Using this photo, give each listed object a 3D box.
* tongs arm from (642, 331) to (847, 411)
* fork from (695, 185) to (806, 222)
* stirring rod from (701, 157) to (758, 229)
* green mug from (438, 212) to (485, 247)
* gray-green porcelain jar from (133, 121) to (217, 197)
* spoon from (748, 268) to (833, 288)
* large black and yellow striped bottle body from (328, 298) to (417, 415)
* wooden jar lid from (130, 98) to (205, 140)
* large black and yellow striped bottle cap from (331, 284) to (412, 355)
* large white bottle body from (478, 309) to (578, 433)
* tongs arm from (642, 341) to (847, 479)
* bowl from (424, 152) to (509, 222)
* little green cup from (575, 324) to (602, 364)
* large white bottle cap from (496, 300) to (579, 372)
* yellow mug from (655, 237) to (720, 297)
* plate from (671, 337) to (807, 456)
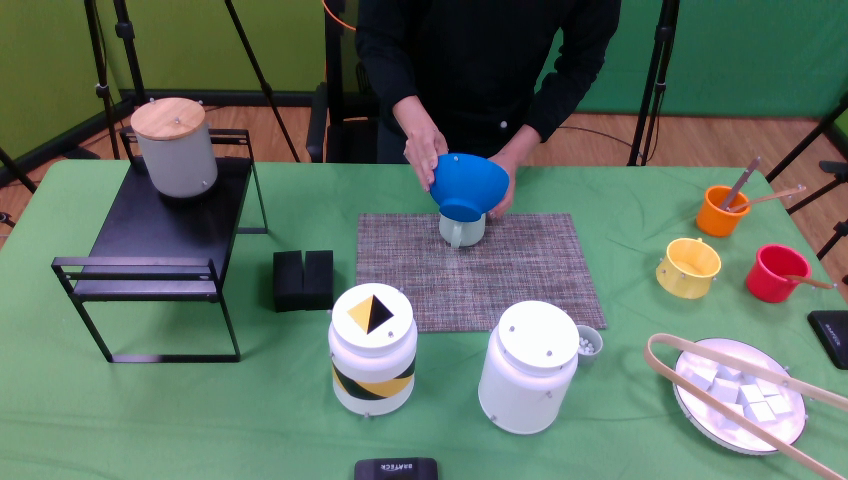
[{"bbox_3d":[0.546,0.227,0.968,0.384,0.026,0.050,22,52,13],"label":"tongs arm"},{"bbox_3d":[0.658,-0.074,1.230,0.207,0.019,0.028,-23,36,37],"label":"fork"},{"bbox_3d":[0.634,-0.096,1.257,0.014,0.006,0.176,38,97,30],"label":"stirring rod"},{"bbox_3d":[0.071,-0.039,1.178,0.092,0.105,0.124,12,47,7],"label":"green mug"},{"bbox_3d":[-0.397,-0.141,0.980,0.106,0.127,0.105,2,47,-2],"label":"gray-green porcelain jar"},{"bbox_3d":[0.660,0.068,1.097,0.041,0.193,0.021,-4,91,-6],"label":"spoon"},{"bbox_3d":[-0.078,0.167,0.920,0.131,0.185,0.130,2,46,-2],"label":"large black and yellow striped bottle body"},{"bbox_3d":[-0.393,-0.183,0.934,0.108,0.021,0.107,3,43,-2],"label":"wooden jar lid"},{"bbox_3d":[-0.073,0.110,0.858,0.115,0.019,0.114,2,46,-2],"label":"large black and yellow striped bottle cap"},{"bbox_3d":[0.156,0.192,0.913,0.131,0.185,0.130,2,46,-2],"label":"large white bottle body"},{"bbox_3d":[0.504,0.278,0.918,0.386,0.028,0.028,34,59,22],"label":"tongs arm"},{"bbox_3d":[0.067,-0.082,1.051,0.151,0.152,0.076,10,71,5],"label":"bowl"},{"bbox_3d":[0.269,0.180,1.036,0.061,0.039,0.061,2,45,-2],"label":"little green cup"},{"bbox_3d":[0.160,0.133,0.852,0.115,0.018,0.114,3,46,-2],"label":"large white bottle cap"},{"bbox_3d":[0.509,0.041,1.167,0.099,0.064,0.130,24,48,18],"label":"yellow mug"},{"bbox_3d":[0.504,0.254,0.984,0.208,0.039,0.206,2,46,-2],"label":"plate"}]
